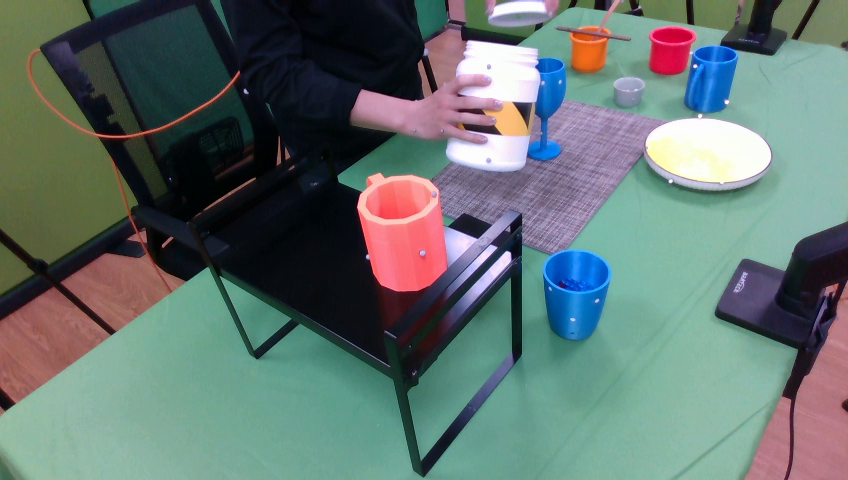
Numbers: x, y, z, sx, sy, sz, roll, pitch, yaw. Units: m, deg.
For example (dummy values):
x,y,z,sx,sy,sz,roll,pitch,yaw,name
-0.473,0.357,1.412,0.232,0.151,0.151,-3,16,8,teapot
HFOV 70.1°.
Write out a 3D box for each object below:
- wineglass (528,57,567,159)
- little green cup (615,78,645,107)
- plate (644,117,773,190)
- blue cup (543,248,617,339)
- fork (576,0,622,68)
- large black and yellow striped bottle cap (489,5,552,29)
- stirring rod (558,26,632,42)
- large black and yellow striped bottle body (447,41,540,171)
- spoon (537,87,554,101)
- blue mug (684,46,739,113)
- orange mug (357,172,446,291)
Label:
x,y,z,sx,sy,sz,roll,pitch,yaw,name
0.221,-0.237,1.098,0.074,0.173,0.073,-4,41,4,wineglass
0.426,-0.306,1.257,0.061,0.039,0.061,-4,40,4,little green cup
0.495,-0.148,1.063,0.209,0.038,0.208,-5,40,4,plate
0.199,0.076,0.797,0.092,0.100,0.092,-4,39,4,blue cup
0.409,-0.484,1.381,0.028,0.019,0.207,37,101,46,fork
0.177,-0.411,1.114,0.115,0.019,0.115,-4,7,1,large black and yellow striped bottle cap
0.381,-0.463,1.356,0.175,0.006,0.014,22,48,30,stirring rod
0.110,-0.211,0.950,0.131,0.184,0.130,6,18,-2,large black and yellow striped bottle body
0.227,-0.284,1.269,0.041,0.022,0.194,2,36,45,spoon
0.556,-0.310,1.190,0.117,0.106,0.081,-32,46,-25,blue mug
-0.030,-0.019,0.668,0.084,0.101,0.125,-23,47,-16,orange mug
